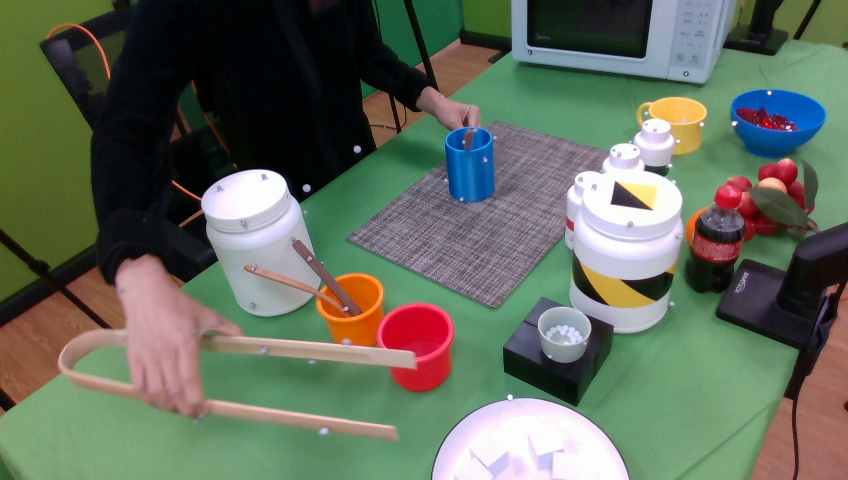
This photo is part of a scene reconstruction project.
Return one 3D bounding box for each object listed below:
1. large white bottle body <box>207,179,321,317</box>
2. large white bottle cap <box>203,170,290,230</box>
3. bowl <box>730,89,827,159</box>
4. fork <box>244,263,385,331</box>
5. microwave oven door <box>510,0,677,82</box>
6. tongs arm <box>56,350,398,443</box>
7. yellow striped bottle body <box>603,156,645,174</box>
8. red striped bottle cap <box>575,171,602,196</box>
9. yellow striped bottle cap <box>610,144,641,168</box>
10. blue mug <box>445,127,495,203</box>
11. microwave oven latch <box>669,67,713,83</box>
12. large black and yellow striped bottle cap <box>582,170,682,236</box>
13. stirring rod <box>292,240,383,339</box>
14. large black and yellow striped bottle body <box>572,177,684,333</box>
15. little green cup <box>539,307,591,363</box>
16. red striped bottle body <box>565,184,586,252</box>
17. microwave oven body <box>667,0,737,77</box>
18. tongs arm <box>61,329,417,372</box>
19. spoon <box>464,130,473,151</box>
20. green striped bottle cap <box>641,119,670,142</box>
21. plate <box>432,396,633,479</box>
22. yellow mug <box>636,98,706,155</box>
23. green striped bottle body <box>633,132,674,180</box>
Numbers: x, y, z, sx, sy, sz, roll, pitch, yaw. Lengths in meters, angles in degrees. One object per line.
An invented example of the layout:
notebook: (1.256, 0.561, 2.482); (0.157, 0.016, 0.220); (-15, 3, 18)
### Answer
large white bottle body: (-0.232, 0.007, 0.877); (0.130, 0.185, 0.130); (-5, 40, 4)
large white bottle cap: (-0.241, -0.057, 0.822); (0.115, 0.018, 0.114); (-4, 40, 4)
bowl: (0.615, -0.197, 1.069); (0.151, 0.077, 0.150); (-5, 40, 4)
fork: (-0.142, 0.077, 0.806); (0.209, 0.018, 0.028); (30, 39, -24)
microwave oven door: (0.353, -0.477, 1.289); (0.353, 0.245, 0.039); (15, 44, 25)
tongs arm: (-0.210, 0.158, 0.606); (0.386, 0.028, 0.028); (7, 47, 14)
yellow striped bottle body: (0.313, -0.089, 0.956); (0.063, 0.121, 0.062); (-4, 40, 4)
red striped bottle cap: (0.242, -0.081, 0.876); (0.044, 0.018, 0.044); (-5, 44, 5)
yellow striped bottle cap: (0.307, -0.128, 0.923); (0.044, 0.019, 0.044); (-5, 40, 5)
blue mug: (0.081, -0.140, 1.060); (0.082, 0.106, 0.116); (-4, 40, 4)
microwave oven latch: (0.556, -0.348, 1.261); (0.078, 0.029, 0.030); (16, 46, 27)
large black and yellow striped bottle cap: (0.252, -0.048, 0.735); (0.115, 0.019, 0.114); (-3, 40, 3)
stirring rod: (-0.118, 0.068, 0.826); (0.176, 0.006, 0.014); (49, 59, -4)
large black and yellow striped bottle body: (0.262, 0.017, 0.788); (0.131, 0.185, 0.130); (-5, 40, 4)
little green cup: (0.167, 0.114, 0.721); (0.061, 0.039, 0.061); (-4, 43, 4)
red striped bottle body: (0.247, -0.041, 0.910); (0.063, 0.120, 0.062); (-3, 39, 3)
microwave oven body: (0.462, -0.552, 1.369); (0.439, 0.261, 0.326); (15, 45, 26)
tongs arm: (-0.200, 0.126, 0.642); (0.384, 0.026, 0.050); (5, 43, 11)
spoon: (0.072, -0.143, 0.998); (0.041, 0.194, 0.021); (-4, 74, 3)
green striped bottle cap: (0.371, -0.175, 0.968); (0.044, 0.020, 0.044); (-6, 41, 5)
plate: (0.112, 0.261, 0.634); (0.209, 0.038, 0.208); (-5, 40, 4)
yellow mug: (0.453, -0.217, 1.129); (0.100, 0.064, 0.129); (-34, 46, -27)
green striped bottle body: (0.376, -0.135, 1.001); (0.063, 0.120, 0.063); (-5, 40, 5)
